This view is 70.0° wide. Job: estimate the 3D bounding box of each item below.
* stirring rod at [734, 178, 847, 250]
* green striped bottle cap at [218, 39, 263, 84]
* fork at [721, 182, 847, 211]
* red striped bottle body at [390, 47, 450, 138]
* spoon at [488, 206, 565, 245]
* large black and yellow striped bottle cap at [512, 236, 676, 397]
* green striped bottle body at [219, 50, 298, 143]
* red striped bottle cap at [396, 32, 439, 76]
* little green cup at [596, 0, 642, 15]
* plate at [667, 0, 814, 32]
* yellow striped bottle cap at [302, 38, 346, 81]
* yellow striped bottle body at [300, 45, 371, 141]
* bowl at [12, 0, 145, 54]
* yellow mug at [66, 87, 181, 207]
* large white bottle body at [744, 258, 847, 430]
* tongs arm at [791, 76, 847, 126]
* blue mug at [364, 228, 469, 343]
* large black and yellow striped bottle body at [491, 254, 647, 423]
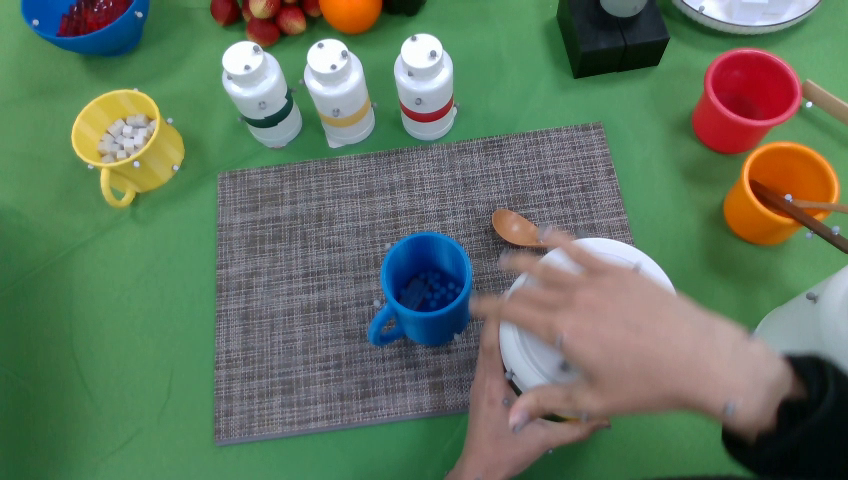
[{"bbox_3d":[0.349,-0.029,0.582,0.014,0.006,0.174,-5,25,-2],"label":"stirring rod"},{"bbox_3d":[-0.190,-0.184,0.625,0.044,0.020,0.044,0,69,0],"label":"green striped bottle cap"},{"bbox_3d":[0.379,-0.032,0.573,0.028,0.019,0.205,-35,26,-18],"label":"fork"},{"bbox_3d":[-0.003,-0.170,0.666,0.063,0.120,0.062,-1,67,3],"label":"red striped bottle body"},{"bbox_3d":[0.157,0.010,0.634,0.193,0.022,0.041,22,49,11],"label":"spoon"},{"bbox_3d":[0.121,0.053,0.433,0.115,0.019,0.114,0,75,-1],"label":"large black and yellow striped bottle cap"},{"bbox_3d":[-0.185,-0.164,0.674,0.063,0.120,0.062,-1,68,3],"label":"green striped bottle body"},{"bbox_3d":[-0.007,-0.190,0.617,0.044,0.018,0.044,0,66,0],"label":"red striped bottle cap"},{"bbox_3d":[0.225,-0.289,0.689,0.061,0.039,0.061,-1,66,2],"label":"little green cup"},{"bbox_3d":[0.385,-0.339,0.755,0.209,0.038,0.207,-1,69,3],"label":"plate"},{"bbox_3d":[-0.102,-0.185,0.621,0.044,0.019,0.044,1,64,-1],"label":"yellow striped bottle cap"},{"bbox_3d":[-0.098,-0.166,0.670,0.063,0.121,0.062,-1,67,4],"label":"yellow striped bottle body"},{"bbox_3d":[-0.413,-0.288,0.758,0.151,0.077,0.150,-1,68,3],"label":"bowl"},{"bbox_3d":[-0.341,-0.100,0.686,0.100,0.064,0.130,1,69,4],"label":"yellow mug"},{"bbox_3d":[0.372,0.085,0.508,0.130,0.186,0.129,-1,68,3],"label":"large white bottle body"},{"bbox_3d":[0.572,-0.070,0.639,0.050,0.027,0.382,-42,73,-16],"label":"tongs arm"},{"bbox_3d":[-0.010,0.057,0.581,0.116,0.106,0.082,-40,71,-12],"label":"blue mug"},{"bbox_3d":[0.125,0.083,0.519,0.131,0.185,0.130,-1,68,4],"label":"large black and yellow striped bottle body"}]
